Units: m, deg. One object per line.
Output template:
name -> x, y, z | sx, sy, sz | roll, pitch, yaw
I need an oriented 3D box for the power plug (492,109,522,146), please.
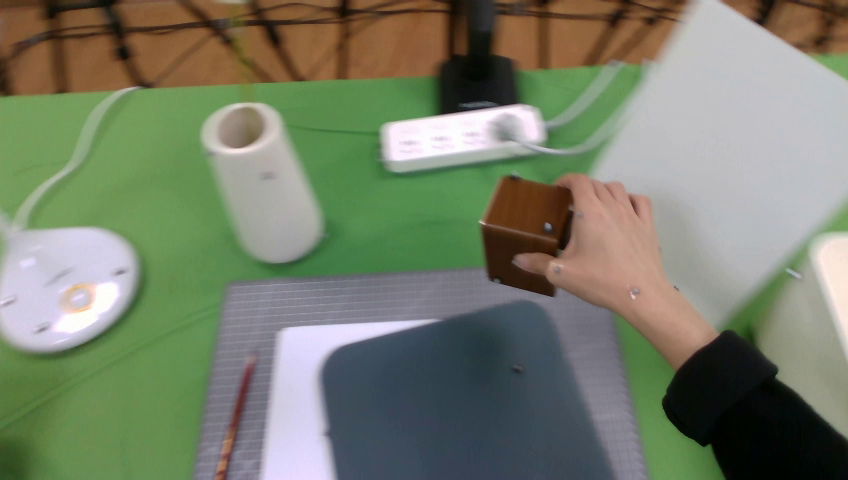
power plug -> 0.106, -0.137, 0.783 | 0.035, 0.053, 0.072 | 1, 60, 3

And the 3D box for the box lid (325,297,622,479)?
box lid -> 0.058, 0.238, 0.591 | 0.263, 0.015, 0.367 | -13, 60, -7

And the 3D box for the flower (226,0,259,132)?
flower -> -0.172, -0.122, 0.615 | 0.038, 0.365, 0.043 | -12, 40, -14

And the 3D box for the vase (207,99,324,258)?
vase -> -0.175, -0.062, 0.676 | 0.098, 0.202, 0.097 | -2, 58, 3

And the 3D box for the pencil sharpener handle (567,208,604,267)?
pencil sharpener handle -> 0.145, 0.001, 0.536 | 0.030, 0.068, 0.036 | 14, 61, 19

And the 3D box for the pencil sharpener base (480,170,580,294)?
pencil sharpener base -> 0.101, -0.004, 0.562 | 0.076, 0.108, 0.061 | 14, 62, 19

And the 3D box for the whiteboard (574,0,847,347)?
whiteboard -> 0.325, -0.075, 0.640 | 0.144, 0.307, 0.215 | -22, 57, -33

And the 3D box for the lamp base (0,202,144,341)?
lamp base -> -0.428, -0.001, 0.656 | 0.178, 0.182, 0.160 | 26, 62, 20

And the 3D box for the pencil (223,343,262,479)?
pencil -> -0.190, 0.196, 0.626 | 0.012, 0.012, 0.192 | 3, 57, 5

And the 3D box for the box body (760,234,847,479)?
box body -> 0.479, 0.186, 0.521 | 0.254, 0.162, 0.360 | 0, 58, 2

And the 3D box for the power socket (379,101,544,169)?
power socket -> 0.052, -0.142, 0.815 | 0.227, 0.033, 0.071 | -8, 59, -3
